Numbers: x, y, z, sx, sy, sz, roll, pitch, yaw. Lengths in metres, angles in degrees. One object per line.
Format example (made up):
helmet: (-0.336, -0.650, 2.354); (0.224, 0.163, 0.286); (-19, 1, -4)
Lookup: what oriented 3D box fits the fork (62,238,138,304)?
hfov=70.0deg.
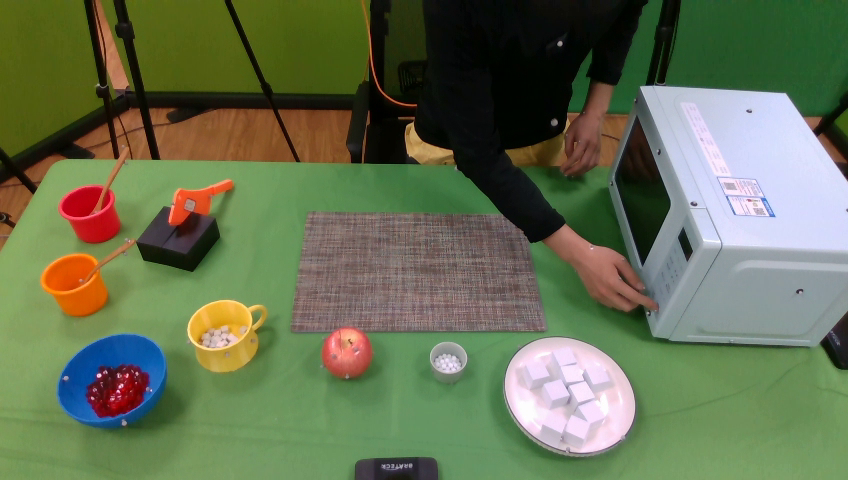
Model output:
fork: (-0.547, 0.053, 1.019); (0.207, 0.019, 0.028); (-36, 40, 23)

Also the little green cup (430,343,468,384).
little green cup: (0.039, 0.203, 0.993); (0.061, 0.039, 0.061); (2, 46, -2)

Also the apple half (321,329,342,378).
apple half: (-0.149, 0.186, 0.972); (0.033, 0.081, 0.080); (-2, 46, -12)

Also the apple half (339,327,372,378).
apple half: (-0.111, 0.182, 0.980); (0.053, 0.075, 0.080); (-2, 42, -12)

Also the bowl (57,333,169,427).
bowl: (-0.456, 0.222, 0.912); (0.151, 0.077, 0.150); (3, 46, -2)

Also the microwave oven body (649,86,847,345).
microwave oven body: (0.568, -0.053, 1.118); (0.326, 0.261, 0.439); (2, 45, -1)

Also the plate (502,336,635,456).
plate: (0.225, 0.248, 0.963); (0.208, 0.039, 0.206); (2, 46, -2)

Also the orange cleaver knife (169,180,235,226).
orange cleaver knife: (-0.436, -0.076, 1.199); (0.012, 0.077, 0.211); (17, 17, 9)

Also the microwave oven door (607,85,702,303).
microwave oven door: (0.423, -0.094, 1.141); (0.039, 0.245, 0.353); (2, 46, -1)

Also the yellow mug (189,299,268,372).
yellow mug: (-0.316, 0.148, 1.002); (0.131, 0.064, 0.099); (-33, 56, -31)

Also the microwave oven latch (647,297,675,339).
microwave oven latch: (0.413, 0.134, 1.061); (0.030, 0.029, 0.078); (5, 45, 2)

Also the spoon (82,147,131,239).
spoon: (-0.603, -0.089, 1.156); (0.041, 0.022, 0.193); (28, 95, 25)

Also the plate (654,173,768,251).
plate: (0.556, -0.050, 1.187); (0.209, 0.038, 0.208); (1, 46, -1)

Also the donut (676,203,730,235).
donut: (0.537, -0.042, 1.170); (0.099, 0.048, 0.098); (6, 24, -2)
